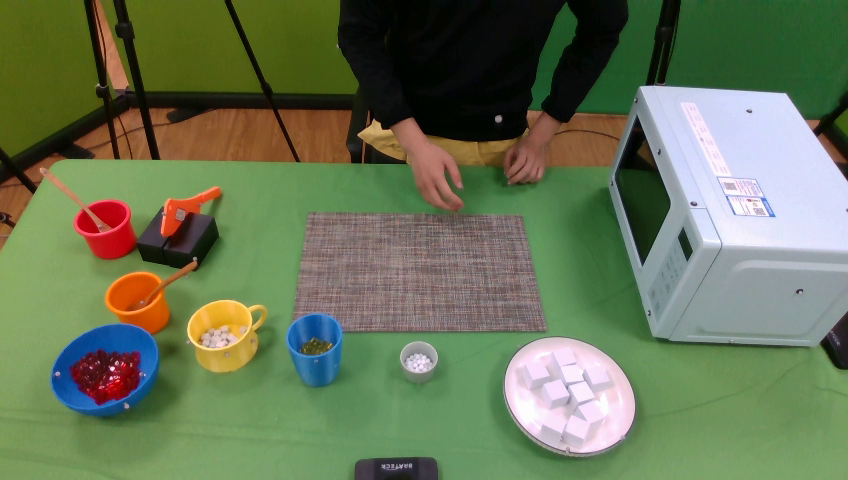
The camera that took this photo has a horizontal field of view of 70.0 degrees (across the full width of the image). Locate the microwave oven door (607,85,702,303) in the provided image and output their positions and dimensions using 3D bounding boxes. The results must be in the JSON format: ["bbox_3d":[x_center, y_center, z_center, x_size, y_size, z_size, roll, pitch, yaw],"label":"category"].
[{"bbox_3d":[0.423,-0.094,1.141,0.039,0.245,0.353,2,46,-1],"label":"microwave oven door"}]

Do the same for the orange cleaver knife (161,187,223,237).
[{"bbox_3d":[-0.448,-0.059,1.181,0.012,0.077,0.211,13,17,6],"label":"orange cleaver knife"}]

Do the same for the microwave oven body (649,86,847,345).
[{"bbox_3d":[0.568,-0.053,1.118,0.326,0.261,0.439,2,45,-1],"label":"microwave oven body"}]

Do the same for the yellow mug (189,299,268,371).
[{"bbox_3d":[-0.316,0.148,1.002,0.131,0.064,0.099,-33,56,-31],"label":"yellow mug"}]

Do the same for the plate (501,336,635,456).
[{"bbox_3d":[0.225,0.248,0.963,0.208,0.039,0.206,2,46,-2],"label":"plate"}]

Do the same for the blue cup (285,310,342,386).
[{"bbox_3d":[-0.170,0.179,0.958,0.093,0.101,0.092,2,44,-1],"label":"blue cup"}]

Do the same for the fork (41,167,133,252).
[{"bbox_3d":[-0.624,-0.056,1.121,0.208,0.018,0.028,49,52,-15],"label":"fork"}]

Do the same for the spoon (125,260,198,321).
[{"bbox_3d":[-0.434,0.083,1.000,0.022,0.194,0.041,35,34,-34],"label":"spoon"}]

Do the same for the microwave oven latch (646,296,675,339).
[{"bbox_3d":[0.412,0.134,1.061,0.030,0.029,0.078,4,45,1],"label":"microwave oven latch"}]

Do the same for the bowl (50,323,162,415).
[{"bbox_3d":[-0.472,0.209,0.924,0.151,0.077,0.150,3,45,-2],"label":"bowl"}]

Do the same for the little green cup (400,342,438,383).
[{"bbox_3d":[-0.010,0.202,0.991,0.061,0.039,0.061,2,47,-2],"label":"little green cup"}]
